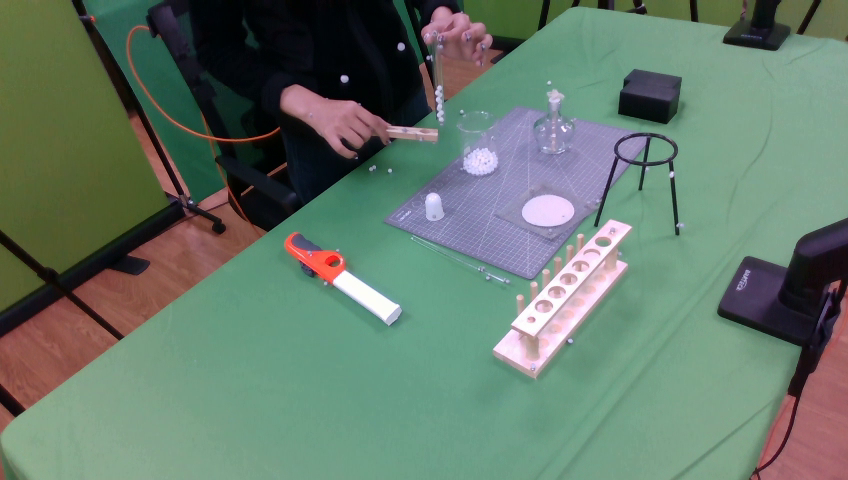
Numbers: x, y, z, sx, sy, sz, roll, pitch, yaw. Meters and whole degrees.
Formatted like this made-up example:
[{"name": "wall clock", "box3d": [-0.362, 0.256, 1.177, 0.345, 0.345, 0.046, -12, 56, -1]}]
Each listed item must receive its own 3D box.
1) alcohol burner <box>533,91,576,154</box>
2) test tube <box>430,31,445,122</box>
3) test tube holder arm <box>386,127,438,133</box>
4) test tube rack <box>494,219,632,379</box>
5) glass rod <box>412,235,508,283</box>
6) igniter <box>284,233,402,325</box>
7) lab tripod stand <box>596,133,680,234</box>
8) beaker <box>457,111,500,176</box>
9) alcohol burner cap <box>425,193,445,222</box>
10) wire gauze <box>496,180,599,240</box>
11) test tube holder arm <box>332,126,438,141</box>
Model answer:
[{"name": "alcohol burner", "box3d": [0.243, -0.222, 1.124, 0.078, 0.119, 0.077, -4, 39, 4]}, {"name": "test tube", "box3d": [0.022, -0.257, 0.965, 0.017, 0.151, 0.017, -4, 38, 3]}, {"name": "test tube holder arm", "box3d": [-0.020, -0.182, 1.025, 0.088, 0.015, 0.010, 3, 41, 0]}, {"name": "test tube rack", "box3d": [0.191, 0.068, 0.818, 0.066, 0.085, 0.243, 25, 51, 35]}, {"name": "glass rod", "box3d": [0.052, 0.028, 0.951, 0.198, 0.008, 0.008, 25, 52, 37]}, {"name": "igniter", "box3d": [-0.136, 0.054, 0.942, 0.274, 0.025, 0.057, 30, 63, 37]}, {"name": "lab tripod stand", "box3d": [0.338, -0.091, 0.940, 0.148, 0.132, 0.147, -7, 39, 6]}, {"name": "beaker", "box3d": [0.104, -0.176, 1.108, 0.073, 0.101, 0.084, 16, 46, 27]}, {"name": "alcohol burner cap", "box3d": [0.017, -0.058, 1.029, 0.034, 0.048, 0.033, -6, 40, 5]}, {"name": "wire gauze", "box3d": [0.206, -0.050, 1.012, 0.125, 0.011, 0.120, -34, 45, -26]}, {"name": "test tube holder arm", "box3d": [-0.066, -0.180, 1.020, 0.178, 0.015, 0.013, 2, 41, -1]}]
